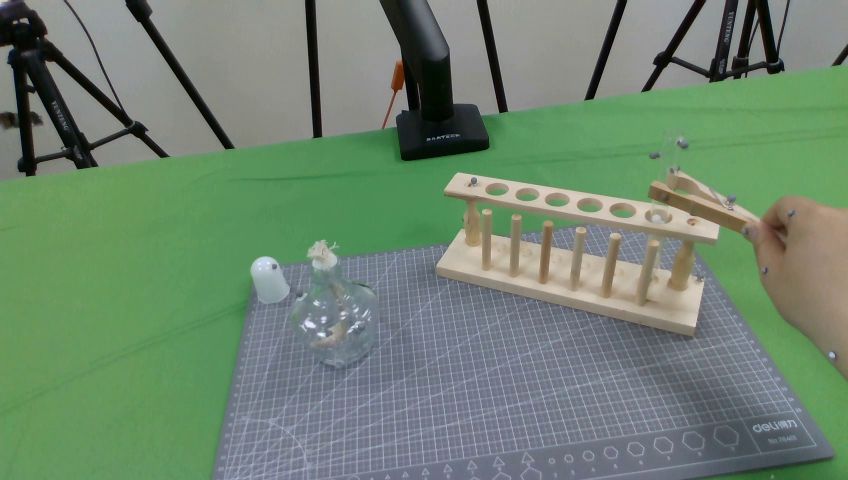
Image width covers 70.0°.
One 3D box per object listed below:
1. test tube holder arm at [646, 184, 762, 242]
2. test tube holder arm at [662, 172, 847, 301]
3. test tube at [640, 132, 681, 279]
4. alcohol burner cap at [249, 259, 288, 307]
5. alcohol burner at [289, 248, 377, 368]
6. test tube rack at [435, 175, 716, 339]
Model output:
[{"bbox_3d":[0.215,-0.022,0.469,0.087,0.015,0.010,26,51,29],"label":"test tube holder arm"},{"bbox_3d":[0.248,-0.003,0.445,0.013,0.015,0.176,-28,48,-21],"label":"test tube holder arm"},{"bbox_3d":[0.197,-0.023,0.511,0.017,0.152,0.017,-5,40,5],"label":"test tube"},{"bbox_3d":[-0.156,0.040,0.603,0.034,0.048,0.033,-3,39,3],"label":"alcohol burner cap"},{"bbox_3d":[-0.080,0.053,0.517,0.078,0.120,0.077,-3,40,3],"label":"alcohol burner"},{"bbox_3d":[0.130,0.010,0.561,0.241,0.086,0.066,12,42,23],"label":"test tube rack"}]
